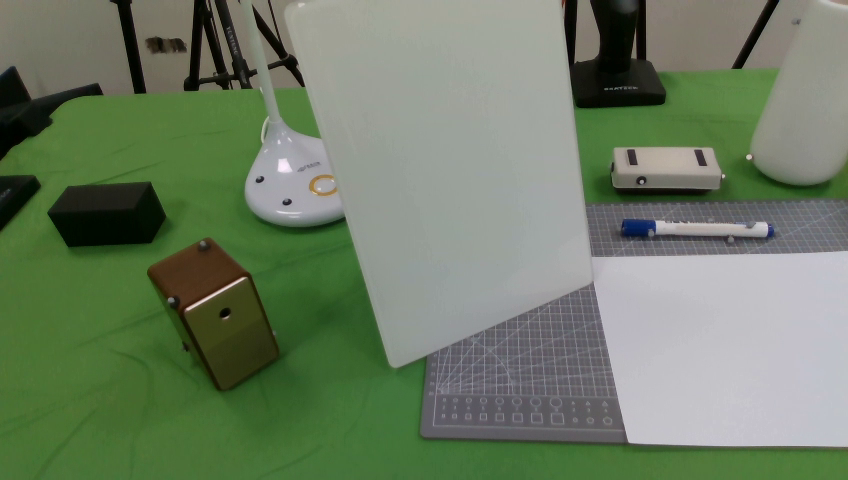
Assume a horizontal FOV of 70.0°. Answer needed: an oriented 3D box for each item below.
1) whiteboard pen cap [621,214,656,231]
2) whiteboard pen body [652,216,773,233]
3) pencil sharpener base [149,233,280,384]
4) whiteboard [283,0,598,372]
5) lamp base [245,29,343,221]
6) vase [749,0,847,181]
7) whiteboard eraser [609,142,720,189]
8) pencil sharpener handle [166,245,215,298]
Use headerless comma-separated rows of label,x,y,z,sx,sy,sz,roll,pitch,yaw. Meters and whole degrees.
whiteboard pen cap,0.223,-0.018,0.630,0.033,0.018,0.018,4,42,7
whiteboard pen body,0.282,-0.016,0.622,0.140,0.017,0.017,1,42,8
pencil sharpener base,-0.180,0.059,0.525,0.061,0.108,0.076,-33,48,-27
whiteboard,0.012,-0.079,0.551,0.217,0.307,0.142,-21,24,-15
lamp base,-0.151,-0.139,0.691,0.160,0.182,0.177,-35,46,-29
vase,0.417,-0.161,0.636,0.098,0.202,0.097,-3,41,3
whiteboard eraser,0.269,-0.083,0.684,0.112,0.042,0.055,0,39,8
pencil sharpener handle,-0.213,0.025,0.548,0.036,0.068,0.030,-39,50,-21
